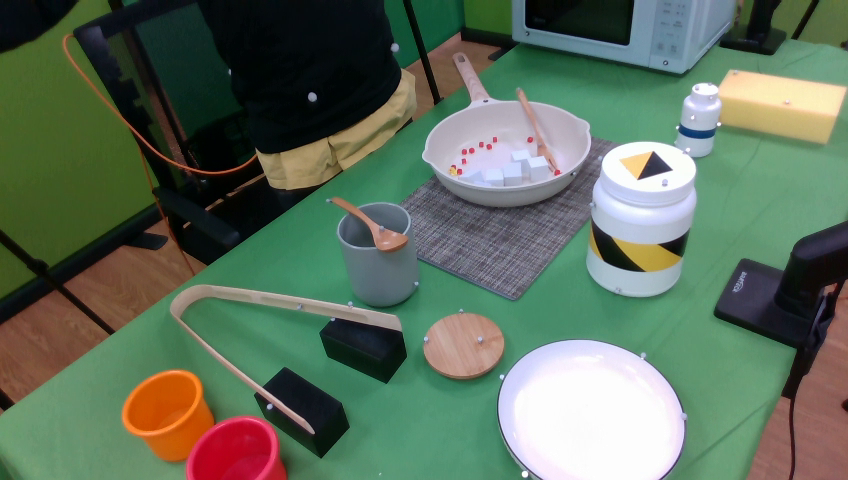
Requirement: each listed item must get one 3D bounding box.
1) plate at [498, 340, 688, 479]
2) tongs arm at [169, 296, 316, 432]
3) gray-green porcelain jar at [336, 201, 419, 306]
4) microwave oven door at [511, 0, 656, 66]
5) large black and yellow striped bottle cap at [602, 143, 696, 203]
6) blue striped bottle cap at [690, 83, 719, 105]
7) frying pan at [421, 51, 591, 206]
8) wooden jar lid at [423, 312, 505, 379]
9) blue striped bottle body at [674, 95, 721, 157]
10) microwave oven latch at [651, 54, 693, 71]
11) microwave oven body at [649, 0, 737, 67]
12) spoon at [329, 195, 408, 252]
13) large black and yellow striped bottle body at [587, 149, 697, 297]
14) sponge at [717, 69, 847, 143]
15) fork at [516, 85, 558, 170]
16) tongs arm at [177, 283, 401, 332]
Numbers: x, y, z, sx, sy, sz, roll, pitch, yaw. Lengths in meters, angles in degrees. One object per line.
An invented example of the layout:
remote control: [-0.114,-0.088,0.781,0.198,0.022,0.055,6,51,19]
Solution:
plate: [0.189,0.206,0.692,0.207,0.039,0.206,-4,40,4]
tongs arm: [-0.248,0.148,0.775,0.384,0.028,0.028,20,56,44]
gray-green porcelain jar: [-0.064,0.024,0.872,0.106,0.127,0.105,-4,41,4]
microwave oven door: [0.351,-0.539,1.349,0.353,0.245,0.039,24,50,31]
large black and yellow striped bottle cap: [0.289,-0.088,0.779,0.115,0.019,0.114,-4,40,4]
blue striped bottle cap: [0.481,-0.251,1.038,0.044,0.021,0.044,-5,40,5]
frying pan: [0.127,-0.233,1.155,0.307,0.103,0.484,-11,49,-5]
wooden jar lid: [0.053,0.142,0.800,0.108,0.021,0.108,-4,39,4]
blue striped bottle body: [0.486,-0.213,1.072,0.063,0.121,0.063,-4,41,4]
microwave oven latch: [0.531,-0.386,1.301,0.078,0.029,0.030,26,51,33]
microwave oven body: [0.475,-0.602,1.411,0.438,0.261,0.327,23,50,32]
spoon: [-0.082,-0.029,0.828,0.042,0.022,0.192,-31,43,-21]
large black and yellow striped bottle body: [0.298,-0.026,0.835,0.131,0.185,0.130,-4,41,4]
sponge: [0.663,-0.256,1.142,0.205,0.061,0.118,19,47,28]
fork: [0.208,-0.213,1.134,0.028,0.019,0.206,-16,66,1]
tongs arm: [-0.199,0.096,0.823,0.382,0.027,0.051,7,44,34]
